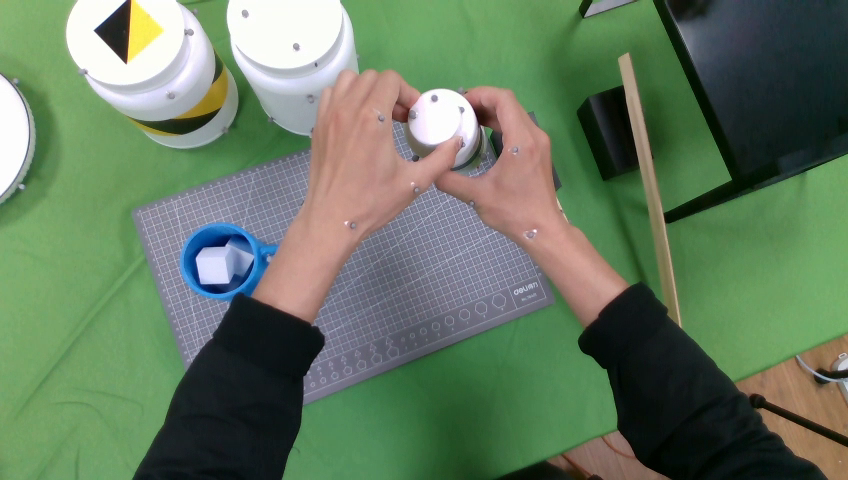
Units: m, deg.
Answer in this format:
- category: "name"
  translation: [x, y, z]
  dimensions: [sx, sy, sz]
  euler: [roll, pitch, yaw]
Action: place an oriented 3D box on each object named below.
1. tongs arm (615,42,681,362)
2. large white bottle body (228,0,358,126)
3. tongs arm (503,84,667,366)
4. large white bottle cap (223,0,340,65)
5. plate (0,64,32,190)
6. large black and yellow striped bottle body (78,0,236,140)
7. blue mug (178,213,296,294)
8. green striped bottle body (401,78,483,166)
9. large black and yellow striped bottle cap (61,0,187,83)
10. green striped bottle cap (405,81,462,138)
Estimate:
- category: "tongs arm"
  translation: [0.270, -0.043, 0.736]
  dimensions: [0.028, 0.027, 0.388]
  euler: [-13, 95, -13]
- category: "large white bottle body"
  translation: [-0.146, -0.220, 0.692]
  dimensions: [0.131, 0.185, 0.130]
  euler: [0, 82, -3]
- category: "tongs arm"
  translation: [0.194, -0.015, 0.725]
  dimensions: [0.051, 0.026, 0.385]
  euler: [-26, 97, -9]
- category: "large white bottle cap"
  translation: [-0.142, -0.233, 0.609]
  dimensions: [0.115, 0.018, 0.114]
  euler: [1, 82, -4]
- category: "plate"
  translation: [-0.577, -0.131, 0.731]
  dimensions: [0.208, 0.039, 0.207]
  euler: [0, 83, -3]
- category: "large black and yellow striped bottle body"
  translation: [-0.299, -0.200, 0.681]
  dimensions: [0.131, 0.184, 0.130]
  euler: [0, 82, -3]
- category: "blue mug"
  translation: [-0.206, 0.015, 0.697]
  dimensions: [0.116, 0.106, 0.082]
  euler: [-14, 83, -5]
- category: "green striped bottle body"
  translation: [0.017, -0.105, 0.542]
  dimensions: [0.063, 0.119, 0.063]
  euler: [0, 90, 10]
- category: "large black and yellow striped bottle cap"
  translation: [-0.296, -0.214, 0.599]
  dimensions: [0.115, 0.019, 0.114]
  euler: [1, 83, -5]
- category: "green striped bottle cap"
  translation: [0.008, -0.105, 0.490]
  dimensions: [0.044, 0.020, 0.044]
  euler: [0, 93, 11]
